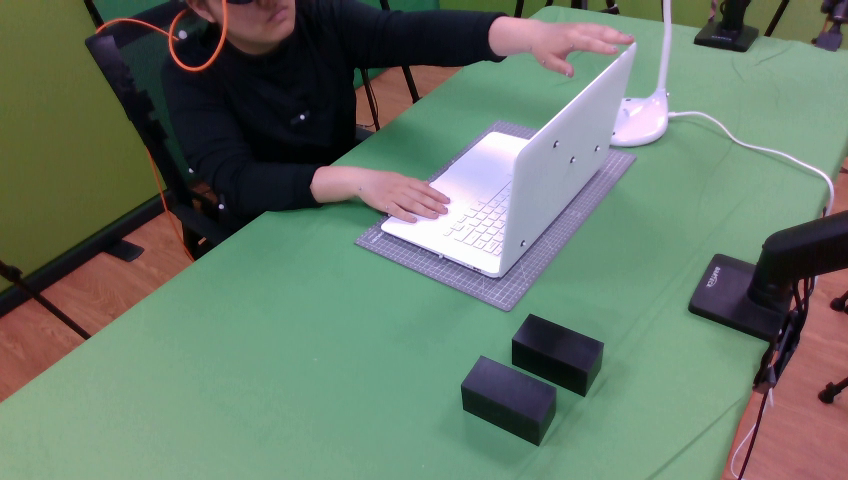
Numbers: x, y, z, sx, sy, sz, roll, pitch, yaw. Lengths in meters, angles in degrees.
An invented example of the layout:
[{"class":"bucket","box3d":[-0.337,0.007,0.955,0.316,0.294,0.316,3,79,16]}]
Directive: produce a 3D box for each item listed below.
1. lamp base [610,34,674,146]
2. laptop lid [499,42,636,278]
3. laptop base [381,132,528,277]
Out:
[{"class":"lamp base","box3d":[0.393,-0.291,1.129,0.180,0.181,0.159,-11,41,-8]},{"class":"laptop lid","box3d":[0.217,-0.122,0.898,0.013,0.242,0.358,28,50,25]},{"class":"laptop base","box3d":[0.122,-0.077,1.043,0.233,0.023,0.355,20,47,33]}]
